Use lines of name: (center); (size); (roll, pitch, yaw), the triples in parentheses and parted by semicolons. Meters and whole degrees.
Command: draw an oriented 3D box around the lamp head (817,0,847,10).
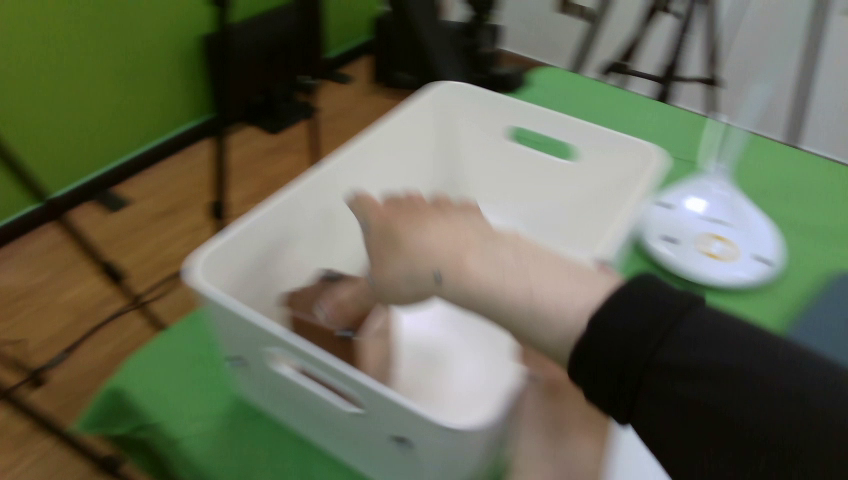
lamp head: (0.332, -0.237, 0.427); (0.112, 0.123, 0.112); (-13, 1, 1)

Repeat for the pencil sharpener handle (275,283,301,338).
pencil sharpener handle: (-0.123, 0.065, 0.516); (0.030, 0.068, 0.036); (17, 15, 18)

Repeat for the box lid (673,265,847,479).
box lid: (0.414, 0.169, 0.522); (0.371, 0.015, 0.260); (-32, 51, -32)

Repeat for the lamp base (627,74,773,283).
lamp base: (0.319, -0.075, 0.659); (0.160, 0.182, 0.177); (4, 40, 3)

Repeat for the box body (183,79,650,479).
box body: (0.016, 0.024, 0.554); (0.252, 0.162, 0.363); (24, 47, 21)

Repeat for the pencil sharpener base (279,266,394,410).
pencil sharpener base: (-0.073, 0.084, 0.516); (0.076, 0.108, 0.061); (17, 45, 17)
